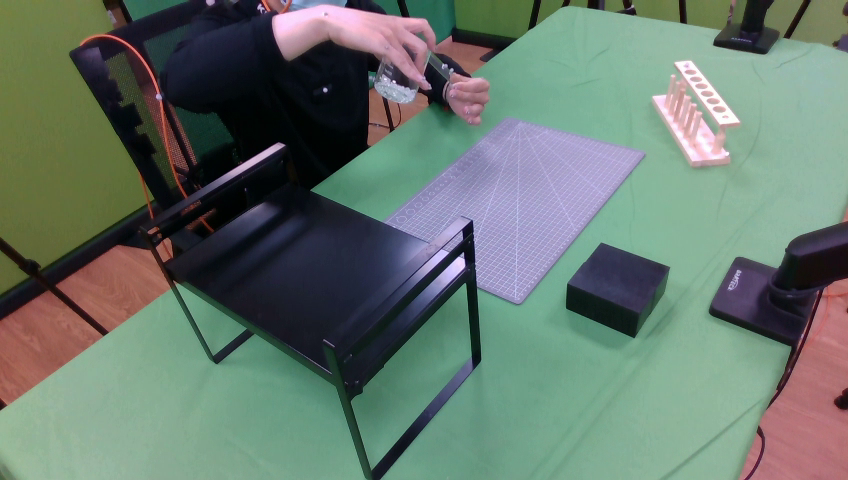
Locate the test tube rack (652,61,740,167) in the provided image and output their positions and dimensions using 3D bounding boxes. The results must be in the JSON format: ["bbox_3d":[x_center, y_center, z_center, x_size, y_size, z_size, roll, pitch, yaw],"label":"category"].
[{"bbox_3d":[0.499,-0.242,1.130,0.067,0.085,0.241,-5,41,3],"label":"test tube rack"}]

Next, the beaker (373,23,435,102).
[{"bbox_3d":[-0.031,-0.272,0.943,0.073,0.085,0.100,15,81,36],"label":"beaker"}]

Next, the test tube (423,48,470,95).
[{"bbox_3d":[0.042,-0.287,1.040,0.017,0.152,0.017,-9,73,29],"label":"test tube"}]
